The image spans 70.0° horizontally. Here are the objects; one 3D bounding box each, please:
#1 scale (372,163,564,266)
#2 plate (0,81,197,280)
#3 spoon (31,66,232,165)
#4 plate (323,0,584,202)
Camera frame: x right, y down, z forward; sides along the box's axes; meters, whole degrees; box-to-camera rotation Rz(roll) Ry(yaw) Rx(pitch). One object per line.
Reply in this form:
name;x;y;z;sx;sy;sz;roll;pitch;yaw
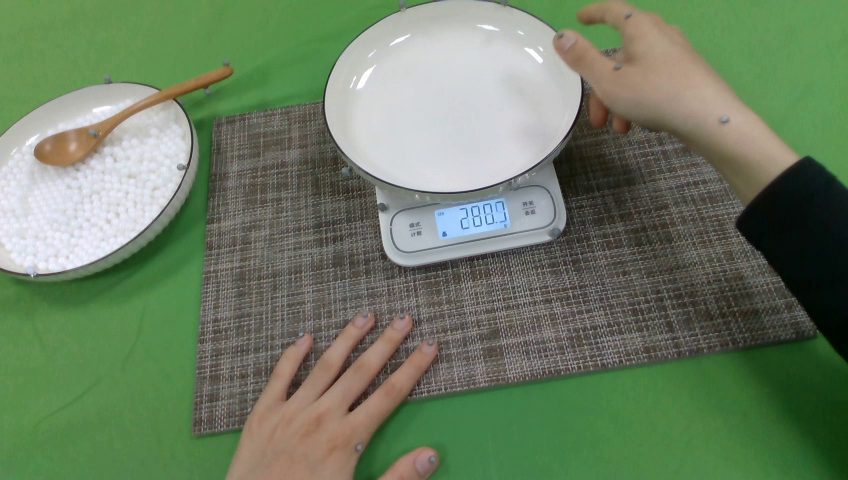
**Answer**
scale;0.027;-0.079;0.516;0.148;0.032;0.199;-10;60;2
plate;-0.302;-0.054;0.543;0.209;0.038;0.207;-3;61;5
spoon;-0.266;-0.117;0.556;0.194;0.022;0.041;-26;60;1
plate;0.024;-0.114;0.498;0.207;0.039;0.206;-3;60;5
